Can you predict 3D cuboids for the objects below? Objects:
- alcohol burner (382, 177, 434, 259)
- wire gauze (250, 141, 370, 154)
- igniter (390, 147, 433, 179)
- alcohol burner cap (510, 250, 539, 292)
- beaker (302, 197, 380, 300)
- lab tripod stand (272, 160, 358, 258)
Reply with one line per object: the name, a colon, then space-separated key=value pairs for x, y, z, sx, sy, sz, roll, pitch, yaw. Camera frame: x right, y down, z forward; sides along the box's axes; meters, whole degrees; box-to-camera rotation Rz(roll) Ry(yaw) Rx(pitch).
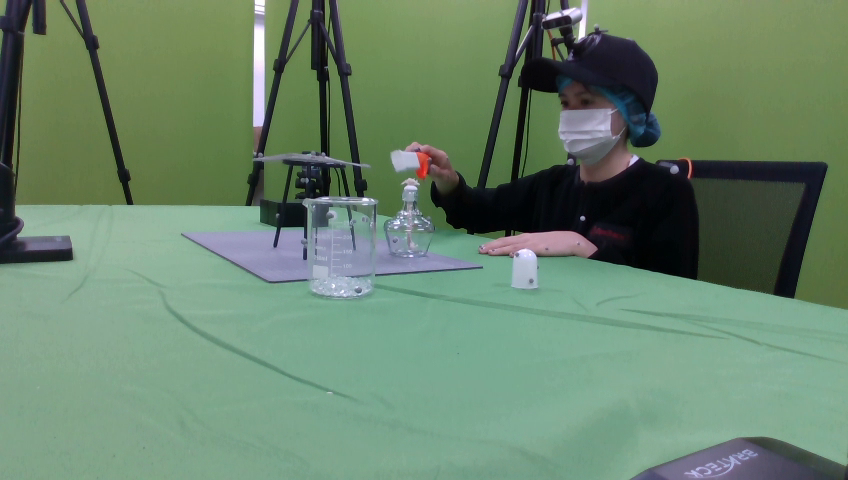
alcohol burner: x=-0.023 y=-0.033 z=0.891 sx=0.078 sy=0.119 sz=0.078 roll=1 pitch=6 yaw=0
wire gauze: x=-0.163 y=-0.131 z=0.867 sx=0.124 sy=0.011 sz=0.122 roll=-1 pitch=9 yaw=32
igniter: x=-0.016 y=-0.133 z=1.038 sx=0.025 sy=0.057 sz=0.277 roll=-15 pitch=3 yaw=11
alcohol burner cap: x=0.118 y=0.036 z=0.704 sx=0.034 sy=0.048 sz=0.034 roll=0 pitch=6 yaw=0
beaker: x=-0.089 y=0.007 z=0.625 sx=0.084 sy=0.100 sz=0.074 roll=4 pitch=7 yaw=16
lab tripod stand: x=-0.159 y=-0.048 z=0.876 sx=0.148 sy=0.131 sz=0.148 roll=3 pitch=5 yaw=0
